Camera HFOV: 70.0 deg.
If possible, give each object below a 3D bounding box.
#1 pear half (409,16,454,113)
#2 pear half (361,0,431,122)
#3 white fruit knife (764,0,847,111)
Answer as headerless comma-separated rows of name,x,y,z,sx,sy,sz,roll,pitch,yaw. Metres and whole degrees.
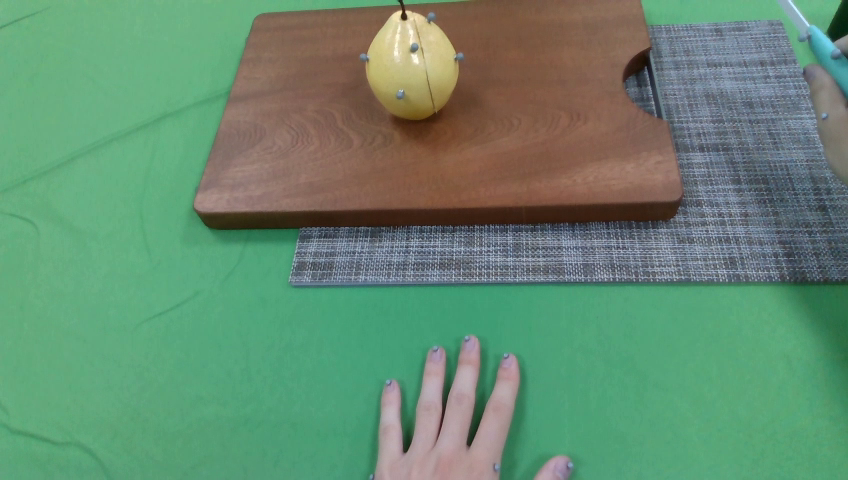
pear half,0.008,-0.153,0.517,0.031,0.089,0.069,-14,52,-3
pear half,-0.027,-0.151,0.509,0.056,0.111,0.075,-15,52,-2
white fruit knife,0.286,-0.150,0.455,0.016,0.027,0.206,-35,78,16
